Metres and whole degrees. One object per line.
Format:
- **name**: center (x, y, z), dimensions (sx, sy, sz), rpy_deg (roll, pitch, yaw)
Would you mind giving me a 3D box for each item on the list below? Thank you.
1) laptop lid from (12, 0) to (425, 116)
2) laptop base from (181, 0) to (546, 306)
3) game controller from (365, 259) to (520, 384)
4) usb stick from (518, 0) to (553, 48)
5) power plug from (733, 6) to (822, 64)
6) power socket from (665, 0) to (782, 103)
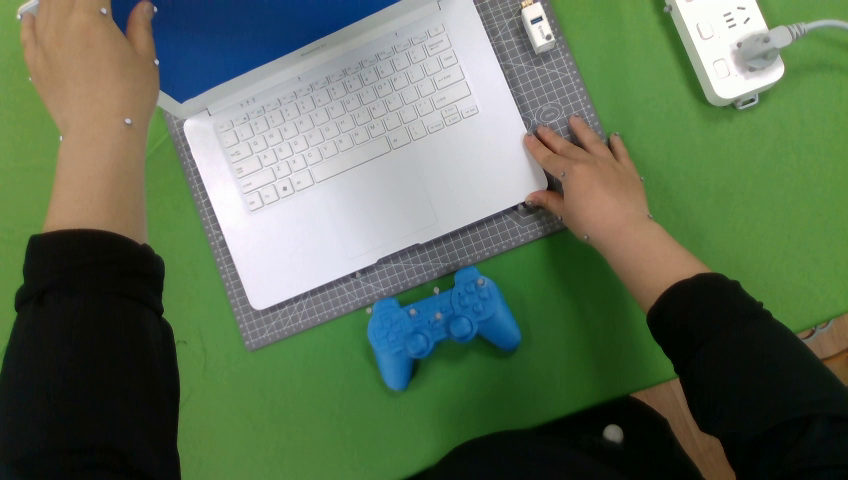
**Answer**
- **laptop lid**: center (-0.141, -0.228, 0.559), dimensions (0.356, 0.243, 0.013), rpy_deg (-23, 77, 8)
- **laptop base**: center (-0.072, -0.099, 0.664), dimensions (0.354, 0.023, 0.235), rpy_deg (-23, 88, 7)
- **game controller**: center (0.014, 0.084, 0.631), dimensions (0.155, 0.052, 0.096), rpy_deg (-21, 80, 7)
- **usb stick**: center (0.114, -0.235, 0.634), dimensions (0.021, 0.027, 0.059), rpy_deg (-23, 82, 9)
- **power plug**: center (0.336, -0.191, 0.581), dimensions (0.072, 0.053, 0.035), rpy_deg (-10, 85, 3)
- **power socket**: center (0.285, -0.248, 0.610), dimensions (0.072, 0.032, 0.226), rpy_deg (-21, 85, 8)
